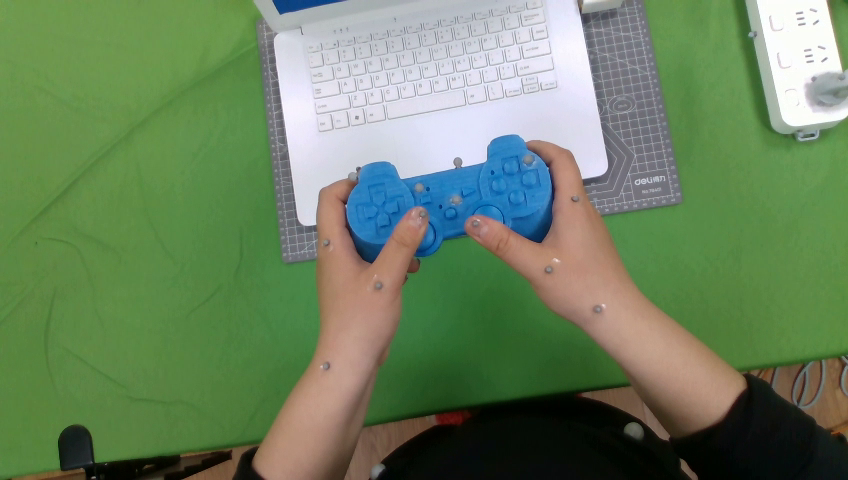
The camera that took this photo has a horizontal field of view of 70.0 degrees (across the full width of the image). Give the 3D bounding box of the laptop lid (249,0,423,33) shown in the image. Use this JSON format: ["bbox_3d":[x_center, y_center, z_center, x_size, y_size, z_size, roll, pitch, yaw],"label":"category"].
[{"bbox_3d":[-0.026,-0.307,0.593,0.356,0.243,0.013,-11,73,6],"label":"laptop lid"}]

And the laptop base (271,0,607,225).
[{"bbox_3d":[0.010,-0.159,0.691,0.354,0.023,0.235,-10,85,5],"label":"laptop base"}]

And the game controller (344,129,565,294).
[{"bbox_3d":[0.019,-0.020,0.431,0.155,0.051,0.097,-11,90,3],"label":"game controller"}]

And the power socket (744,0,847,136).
[{"bbox_3d":[0.393,-0.226,0.649,0.072,0.033,0.226,-8,82,6],"label":"power socket"}]

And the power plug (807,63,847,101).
[{"bbox_3d":[0.430,-0.159,0.618,0.072,0.053,0.035,4,83,3],"label":"power plug"}]

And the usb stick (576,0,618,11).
[{"bbox_3d":[0.185,-0.272,0.673,0.059,0.027,0.021,-9,83,9],"label":"usb stick"}]
